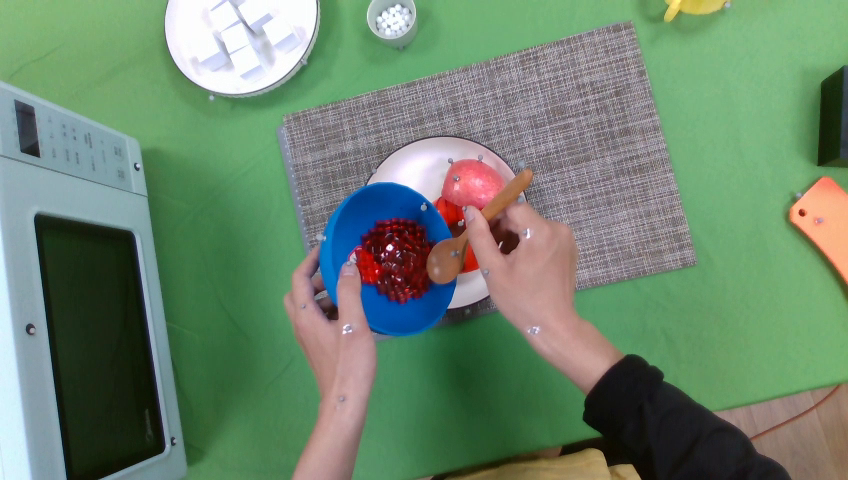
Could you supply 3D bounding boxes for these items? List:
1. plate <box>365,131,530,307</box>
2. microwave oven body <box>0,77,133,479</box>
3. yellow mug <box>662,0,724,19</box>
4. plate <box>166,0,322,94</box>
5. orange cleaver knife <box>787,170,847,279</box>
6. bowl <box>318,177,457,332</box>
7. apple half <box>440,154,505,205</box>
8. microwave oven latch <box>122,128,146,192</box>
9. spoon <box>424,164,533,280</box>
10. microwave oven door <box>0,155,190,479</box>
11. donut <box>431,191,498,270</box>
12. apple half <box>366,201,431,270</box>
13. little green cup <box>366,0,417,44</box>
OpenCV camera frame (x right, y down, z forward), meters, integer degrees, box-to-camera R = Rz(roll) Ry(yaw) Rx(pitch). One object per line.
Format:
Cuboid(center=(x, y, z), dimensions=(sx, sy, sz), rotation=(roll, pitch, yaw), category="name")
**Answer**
Cuboid(center=(0.022, -0.025, 0.725), dimensions=(0.209, 0.038, 0.208), rotation=(-1, 86, 9), category="plate")
Cuboid(center=(-0.505, 0.094, 0.681), dimensions=(0.326, 0.261, 0.440), rotation=(-12, 85, 7), category="microwave oven body")
Cuboid(center=(0.313, -0.312, 0.693), dimensions=(0.099, 0.064, 0.131), rotation=(34, 92, 9), category="yellow mug")
Cuboid(center=(-0.229, -0.287, 0.785), dimensions=(0.207, 0.039, 0.207), rotation=(-1, 86, 9), category="plate")
Cuboid(center=(0.482, 0.022, 0.666), dimensions=(0.077, 0.012, 0.210), rotation=(-29, 81, 0), category="orange cleaver knife")
Cuboid(center=(-0.048, 0.020, 0.602), dimensions=(0.076, 0.152, 0.151), rotation=(-16, 81, 50), category="bowl")
Cuboid(center=(0.058, -0.076, 0.697), dimensions=(0.081, 0.033, 0.080), rotation=(2, 46, -1), category="apple half")
Cuboid(center=(-0.380, -0.101, 0.775), dimensions=(0.030, 0.029, 0.079), rotation=(-11, 85, 7), category="microwave oven latch")
Cuboid(center=(0.044, -0.012, 0.543), dimensions=(0.022, 0.194, 0.041), rotation=(-13, 71, -27), category="spoon")
Cuboid(center=(-0.356, 0.105, 0.653), dimensions=(0.039, 0.244, 0.354), rotation=(-12, 84, 7), category="microwave oven door")
Cuboid(center=(0.038, -0.013, 0.711), dimensions=(0.099, 0.048, 0.099), rotation=(0, 89, 9), category="donut")
Cuboid(center=(-0.036, -0.004, 0.701), dimensions=(0.074, 0.054, 0.080), rotation=(-16, 80, 48), category="apple half")
Cuboid(center=(-0.038, -0.276, 0.756), dimensions=(0.061, 0.039, 0.061), rotation=(-1, 85, 9), category="little green cup")
